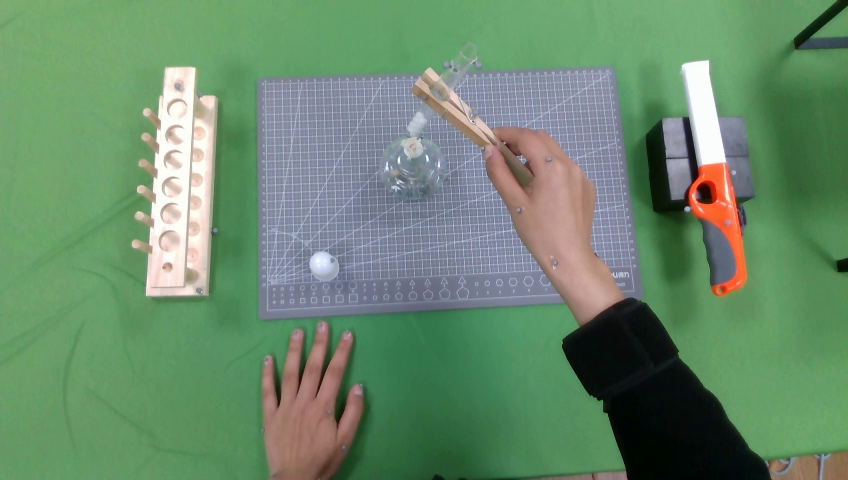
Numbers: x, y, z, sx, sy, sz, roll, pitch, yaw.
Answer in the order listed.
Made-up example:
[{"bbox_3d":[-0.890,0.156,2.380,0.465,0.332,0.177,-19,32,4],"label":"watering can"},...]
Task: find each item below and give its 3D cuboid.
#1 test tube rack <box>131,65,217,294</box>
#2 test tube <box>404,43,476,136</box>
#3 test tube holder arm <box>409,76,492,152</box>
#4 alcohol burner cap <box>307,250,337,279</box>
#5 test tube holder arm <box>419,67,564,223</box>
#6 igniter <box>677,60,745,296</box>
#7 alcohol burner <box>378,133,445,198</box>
[{"bbox_3d":[-0.282,-0.065,0.678,0.067,0.085,0.241,-1,79,-3],"label":"test tube rack"},{"bbox_3d":[0.010,-0.127,0.531,0.017,0.150,0.017,5,74,-18],"label":"test tube"},{"bbox_3d":[0.025,-0.109,0.529,0.088,0.015,0.010,38,65,-8],"label":"test tube holder arm"},{"bbox_3d":[-0.117,0.026,0.688,0.034,0.048,0.033,1,79,-4],"label":"alcohol burner cap"},{"bbox_3d":[0.061,-0.083,0.536,0.179,0.015,0.013,45,65,-5],"label":"test tube holder arm"},{"bbox_3d":[0.326,-0.074,0.693,0.057,0.025,0.275,-5,78,8],"label":"igniter"},{"bbox_3d":[-0.014,-0.089,0.679,0.078,0.119,0.077,0,80,-2],"label":"alcohol burner"}]
